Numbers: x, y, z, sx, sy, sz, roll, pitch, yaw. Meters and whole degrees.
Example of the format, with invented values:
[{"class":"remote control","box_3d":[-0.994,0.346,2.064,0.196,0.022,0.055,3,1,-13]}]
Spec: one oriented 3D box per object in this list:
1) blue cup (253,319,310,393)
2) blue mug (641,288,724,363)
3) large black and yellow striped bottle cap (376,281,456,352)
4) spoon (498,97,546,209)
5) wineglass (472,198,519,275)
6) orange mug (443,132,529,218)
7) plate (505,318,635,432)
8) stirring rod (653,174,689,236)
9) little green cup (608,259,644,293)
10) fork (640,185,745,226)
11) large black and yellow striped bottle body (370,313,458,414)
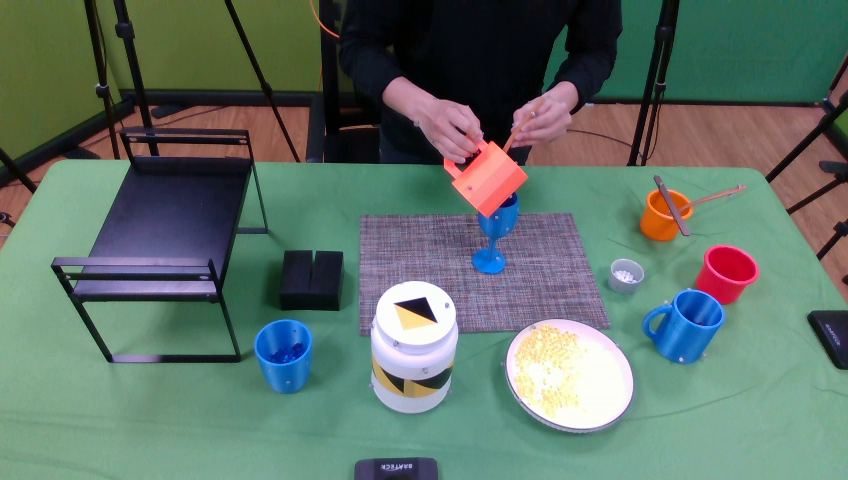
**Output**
[{"class":"blue cup","box_3d":[-0.217,0.187,0.943,0.093,0.101,0.092,4,45,-3]},{"class":"blue mug","box_3d":[0.432,0.144,1.033,0.116,0.106,0.082,8,46,5]},{"class":"large black and yellow striped bottle cap","box_3d":[-0.011,0.107,0.863,0.115,0.019,0.114,2,47,-2]},{"class":"spoon","box_3d":[0.157,-0.136,0.978,0.042,0.194,0.021,1,23,-36]},{"class":"wineglass","box_3d":[0.129,-0.018,1.113,0.074,0.173,0.073,2,46,-2]},{"class":"orange mug","box_3d":[0.095,-0.113,0.992,0.126,0.101,0.083,47,9,-11]},{"class":"plate","box_3d":[0.235,0.221,0.991,0.209,0.038,0.208,2,45,-2]},{"class":"stirring rod","box_3d":[0.491,-0.072,1.211,0.014,0.006,0.175,0,47,-6]},{"class":"little green cup","box_3d":[0.379,0.070,1.147,0.061,0.039,0.061,3,45,-3]},{"class":"fork","box_3d":[0.534,-0.069,1.215,0.207,0.019,0.028,-26,27,33]},{"class":"large black and yellow striped bottle body","box_3d":[-0.017,0.165,0.924,0.131,0.185,0.130,2,46,-2]}]
